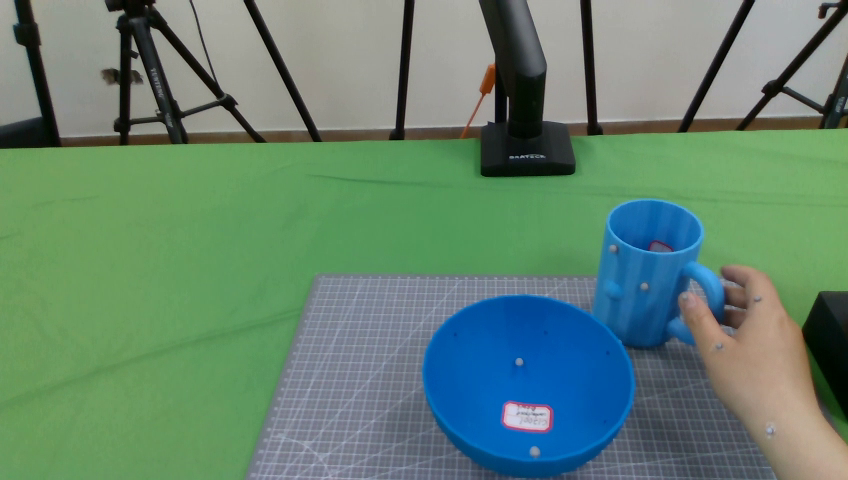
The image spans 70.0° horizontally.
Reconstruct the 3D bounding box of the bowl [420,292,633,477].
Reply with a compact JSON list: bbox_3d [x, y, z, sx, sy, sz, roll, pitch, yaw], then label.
[{"bbox_3d":[0.074,0.119,0.456,0.151,0.077,0.150,-2,39,2],"label":"bowl"}]

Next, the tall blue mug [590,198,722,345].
[{"bbox_3d":[0.204,0.033,0.525,0.106,0.109,0.077,17,43,24],"label":"tall blue mug"}]
